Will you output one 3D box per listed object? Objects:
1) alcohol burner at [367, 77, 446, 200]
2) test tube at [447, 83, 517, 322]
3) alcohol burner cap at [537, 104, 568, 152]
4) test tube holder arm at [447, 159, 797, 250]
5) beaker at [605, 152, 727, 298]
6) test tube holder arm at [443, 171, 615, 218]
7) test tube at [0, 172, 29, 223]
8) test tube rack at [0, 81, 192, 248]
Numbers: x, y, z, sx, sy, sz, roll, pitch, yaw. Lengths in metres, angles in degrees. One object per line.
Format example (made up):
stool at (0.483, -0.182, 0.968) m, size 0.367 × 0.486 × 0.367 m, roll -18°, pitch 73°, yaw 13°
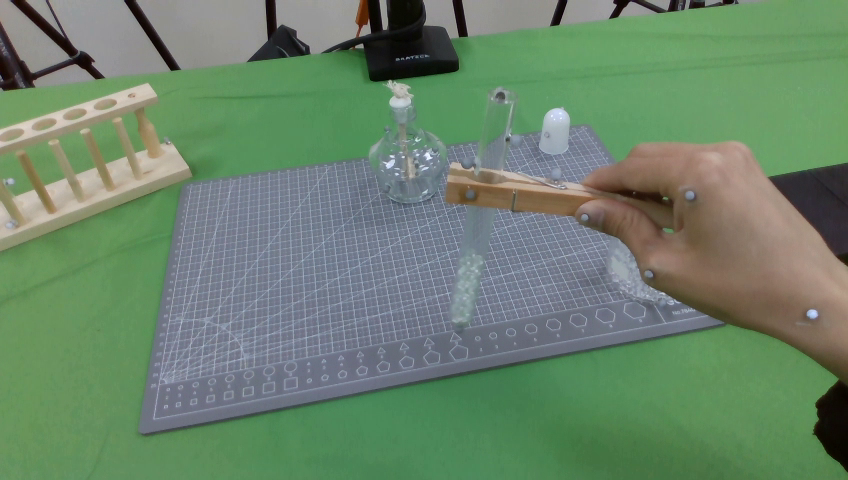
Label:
alcohol burner at (-0.019, -0.099, 0.579) m, size 0.078 × 0.120 × 0.077 m, roll -3°, pitch 42°, yaw 3°
test tube at (0.029, -0.012, 0.332) m, size 0.017 × 0.151 × 0.017 m, roll 5°, pitch 35°, yaw -3°
alcohol burner cap at (0.138, -0.122, 0.645) m, size 0.034 × 0.048 × 0.033 m, roll -2°, pitch 43°, yaw 2°
test tube holder arm at (0.099, -0.019, 0.316) m, size 0.178 × 0.015 × 0.013 m, roll 11°, pitch 39°, yaw 6°
beaker at (0.183, -0.010, 0.482) m, size 0.074 × 0.101 × 0.083 m, roll -31°, pitch 49°, yaw -26°
test tube holder arm at (0.054, -0.023, 0.315) m, size 0.088 × 0.015 × 0.010 m, roll 6°, pitch 38°, yaw 1°
test tube at (-0.398, -0.075, 0.541) m, size 0.017 × 0.152 × 0.017 m, roll -3°, pitch 42°, yaw 3°
test tube rack at (-0.369, -0.070, 0.598) m, size 0.242 × 0.086 × 0.066 m, roll -27°, pitch 48°, yaw -23°
